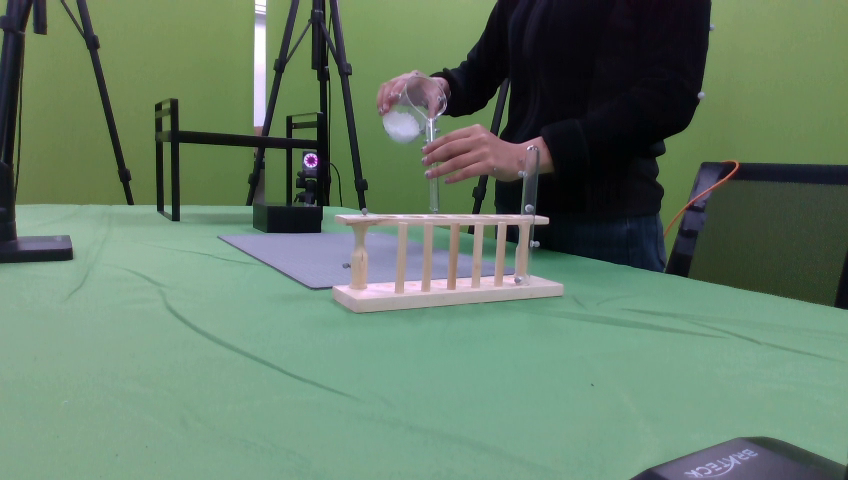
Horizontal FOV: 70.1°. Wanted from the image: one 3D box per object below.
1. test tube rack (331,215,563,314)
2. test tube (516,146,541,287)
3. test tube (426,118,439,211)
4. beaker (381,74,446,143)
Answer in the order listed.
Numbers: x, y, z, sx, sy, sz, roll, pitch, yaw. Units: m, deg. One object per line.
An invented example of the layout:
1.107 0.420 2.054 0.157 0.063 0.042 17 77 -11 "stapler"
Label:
0.031 0.019 0.625 0.243 0.085 0.066 -1 8 -28 "test tube rack"
0.110 -0.024 0.638 0.017 0.150 0.017 4 6 0 "test tube"
0.013 -0.115 0.912 0.017 0.150 0.017 -2 -16 0 "test tube"
-0.019 -0.206 0.980 0.074 0.084 0.100 -5 -18 -32 "beaker"
